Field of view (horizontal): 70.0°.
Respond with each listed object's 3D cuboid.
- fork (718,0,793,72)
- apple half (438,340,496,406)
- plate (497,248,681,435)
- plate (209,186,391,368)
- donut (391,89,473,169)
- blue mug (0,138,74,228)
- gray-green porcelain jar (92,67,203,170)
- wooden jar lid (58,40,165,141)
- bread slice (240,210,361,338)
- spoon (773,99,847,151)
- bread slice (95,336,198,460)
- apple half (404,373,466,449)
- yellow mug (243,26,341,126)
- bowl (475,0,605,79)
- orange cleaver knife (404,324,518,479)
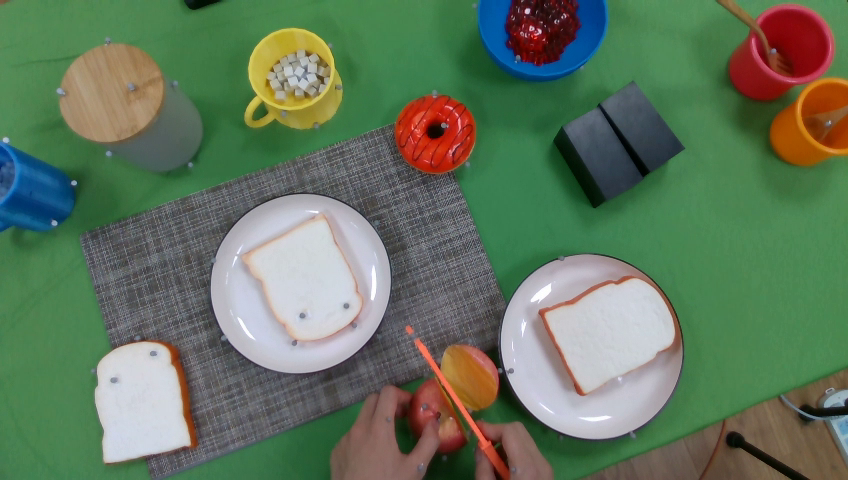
[{"bbox_3d":[0.377,-0.241,0.693,0.209,0.018,0.028,18,77,-39],"label":"fork"},{"bbox_3d":[0.053,0.148,0.689,0.033,0.081,0.081,-27,80,-43],"label":"apple half"},{"bbox_3d":[0.186,0.114,0.696,0.209,0.038,0.208,0,82,0],"label":"plate"},{"bbox_3d":[-0.141,0.043,0.703,0.208,0.039,0.207,0,82,0],"label":"plate"},{"bbox_3d":[0.011,-0.133,0.725,0.099,0.048,0.098,0,82,0],"label":"donut"},{"bbox_3d":[-0.478,-0.052,0.685,0.082,0.106,0.116,43,84,6],"label":"blue mug"},{"bbox_3d":[-0.320,-0.142,0.688,0.106,0.127,0.105,0,81,0],"label":"gray-green porcelain jar"},{"bbox_3d":[-0.320,-0.153,0.627,0.108,0.021,0.108,0,80,1],"label":"wooden jar lid"},{"bbox_3d":[-0.134,0.045,0.703,0.107,0.018,0.134,-32,82,-4],"label":"bread slice"},{"bbox_3d":[0.493,-0.162,0.681,0.022,0.194,0.041,-17,77,-48],"label":"spoon"},{"bbox_3d":[-0.323,0.177,0.693,0.105,0.019,0.131,-13,83,-3],"label":"bread slice"},{"bbox_3d":[0.006,0.193,0.668,0.053,0.075,0.080,-27,86,-3],"label":"apple half"},{"bbox_3d":[-0.165,-0.184,0.725,0.131,0.064,0.099,-44,84,-5],"label":"yellow mug"},{"bbox_3d":[0.133,-0.256,0.730,0.151,0.077,0.151,0,82,0],"label":"bowl"},{"bbox_3d":[0.042,0.176,0.628,0.012,0.077,0.212,-34,96,-8],"label":"orange cleaver knife"}]
